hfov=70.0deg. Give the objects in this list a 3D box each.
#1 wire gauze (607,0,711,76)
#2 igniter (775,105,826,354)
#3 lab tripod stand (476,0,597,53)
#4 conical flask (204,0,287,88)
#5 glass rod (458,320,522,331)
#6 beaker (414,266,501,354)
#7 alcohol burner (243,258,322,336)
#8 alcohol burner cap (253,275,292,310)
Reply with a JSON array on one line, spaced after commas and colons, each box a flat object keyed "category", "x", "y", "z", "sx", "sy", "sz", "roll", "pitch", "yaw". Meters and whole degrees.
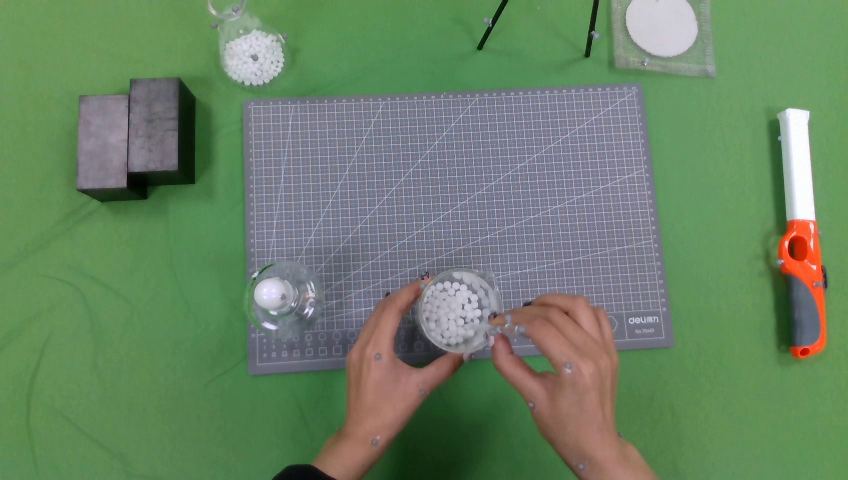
[{"category": "wire gauze", "x": 0.276, "y": -0.255, "z": 0.709, "sx": 0.125, "sy": 0.011, "sz": 0.121, "roll": 3, "pitch": 81, "yaw": -4}, {"category": "igniter", "x": 0.412, "y": -0.014, "z": 0.667, "sx": 0.057, "sy": 0.025, "sz": 0.275, "roll": 4, "pitch": 81, "yaw": -13}, {"category": "lab tripod stand", "x": 0.127, "y": -0.264, "z": 0.640, "sx": 0.148, "sy": 0.132, "sz": 0.148, "roll": 0, "pitch": 83, "yaw": -2}, {"category": "conical flask", "x": -0.189, "y": -0.214, "z": 0.624, "sx": 0.075, "sy": 0.122, "sz": 0.075, "roll": 0, "pitch": 80, "yaw": -2}, {"category": "glass rod", "x": 0.051, "y": 0.071, "z": 0.515, "sx": 0.008, "sy": 0.200, "sz": 0.008, "roll": 1, "pitch": 83, "yaw": -8}, {"category": "beaker", "x": 0.029, "y": 0.063, "z": 0.571, "sx": 0.074, "sy": 0.100, "sz": 0.084, "roll": 40, "pitch": 81, "yaw": 1}, {"category": "alcohol burner", "x": -0.140, "y": 0.054, "z": 0.585, "sx": 0.078, "sy": 0.119, "sz": 0.077, "roll": 0, "pitch": 80, "yaw": 0}, {"category": "alcohol burner cap", "x": -0.139, "y": 0.047, "z": 0.549, "sx": 0.034, "sy": 0.048, "sz": 0.034, "roll": 1, "pitch": 84, "yaw": -6}]
